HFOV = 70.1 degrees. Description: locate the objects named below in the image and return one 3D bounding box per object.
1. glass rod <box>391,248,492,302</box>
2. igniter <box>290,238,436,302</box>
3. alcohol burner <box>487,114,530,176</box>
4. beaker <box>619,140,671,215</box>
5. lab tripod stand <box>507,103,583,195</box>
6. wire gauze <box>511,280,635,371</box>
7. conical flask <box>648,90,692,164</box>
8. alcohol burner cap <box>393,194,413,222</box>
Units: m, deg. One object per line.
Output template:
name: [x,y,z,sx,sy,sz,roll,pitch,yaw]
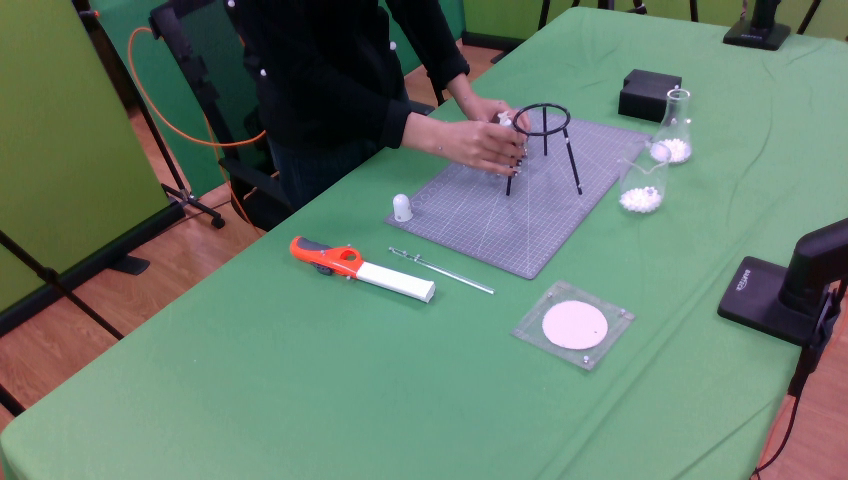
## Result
glass rod: [0.023,0.051,0.936,0.198,0.008,0.008,26,52,32]
igniter: [-0.106,0.043,0.949,0.274,0.025,0.057,16,57,27]
alcohol burner: [0.151,-0.175,1.086,0.078,0.119,0.077,-5,42,5]
beaker: [0.352,-0.096,0.971,0.074,0.101,0.084,1,42,13]
lab tripod stand: [0.198,-0.151,1.004,0.148,0.132,0.147,-8,43,8]
wire gauze: [0.203,0.114,0.822,0.120,0.011,0.125,25,53,35]
conical flask: [0.437,-0.199,1.057,0.075,0.122,0.075,-5,40,5]
alcohol burner cap: [-0.038,-0.057,1.038,0.034,0.048,0.033,-5,41,5]
